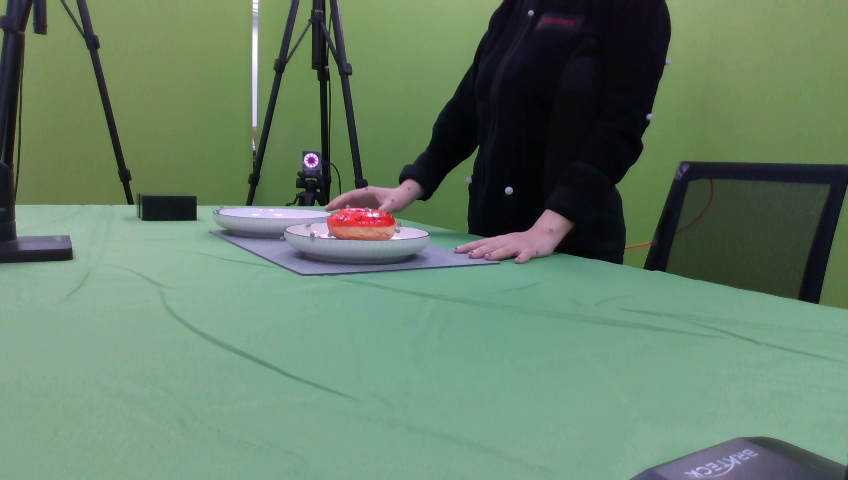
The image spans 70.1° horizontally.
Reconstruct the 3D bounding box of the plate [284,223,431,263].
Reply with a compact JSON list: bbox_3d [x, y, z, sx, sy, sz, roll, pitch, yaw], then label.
[{"bbox_3d":[-0.094,0.003,0.868,0.209,0.038,0.209,2,7,0],"label":"plate"}]

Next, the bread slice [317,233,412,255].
[{"bbox_3d":[-0.096,0.004,0.863,0.107,0.018,0.133,-1,6,-31],"label":"bread slice"}]

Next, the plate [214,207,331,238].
[{"bbox_3d":[-0.268,-0.032,1.085,0.208,0.039,0.207,2,7,0],"label":"plate"}]

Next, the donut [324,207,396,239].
[{"bbox_3d":[-0.089,-0.022,0.847,0.099,0.048,0.099,4,8,0],"label":"donut"}]
